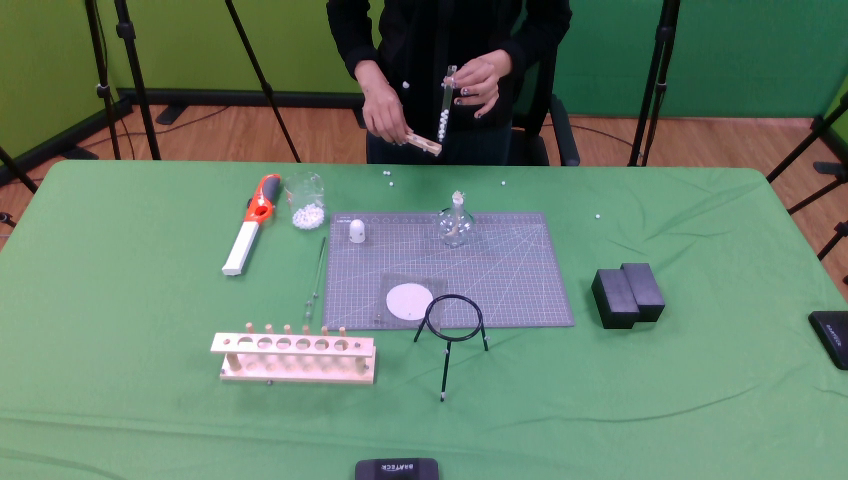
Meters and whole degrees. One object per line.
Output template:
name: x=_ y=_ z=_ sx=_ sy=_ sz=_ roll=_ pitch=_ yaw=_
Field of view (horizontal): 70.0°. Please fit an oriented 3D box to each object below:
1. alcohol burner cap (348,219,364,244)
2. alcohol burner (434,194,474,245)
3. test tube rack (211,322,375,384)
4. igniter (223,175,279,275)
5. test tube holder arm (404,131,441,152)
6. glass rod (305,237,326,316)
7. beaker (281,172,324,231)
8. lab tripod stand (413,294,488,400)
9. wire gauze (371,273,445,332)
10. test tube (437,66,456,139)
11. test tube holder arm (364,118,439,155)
alcohol burner cap: x=-0.134 y=-0.019 z=1.190 sx=0.034 sy=0.048 sz=0.033 roll=2 pitch=46 yaw=-2
alcohol burner: x=0.061 y=-0.046 z=1.183 sx=0.078 sy=0.119 sz=0.077 roll=3 pitch=47 yaw=-3
test tube rack: x=-0.203 y=0.176 z=0.969 sx=0.242 sy=0.085 sz=0.066 roll=3 pitch=46 yaw=-2
igniter: x=-0.341 y=-0.039 z=1.207 sx=0.057 sy=0.025 sz=0.275 roll=-1 pitch=45 yaw=9
test tube holder arm: x=-0.005 y=-0.197 z=1.214 sx=0.087 sy=0.015 sz=0.010 roll=25 pitch=54 yaw=19
glass rod: x=-0.202 y=0.064 z=1.132 sx=0.008 sy=0.008 sz=0.198 roll=3 pitch=43 yaw=0
beaker: x=-0.234 y=-0.073 z=1.199 sx=0.084 sy=0.101 sz=0.074 roll=24 pitch=50 yaw=17
lab tripod stand: x=0.044 y=0.159 z=0.972 sx=0.148 sy=0.132 sz=0.147 roll=2 pitch=44 yaw=-2
wire gauze: x=-0.028 y=0.108 z=1.100 sx=0.125 sy=0.011 sz=0.121 roll=7 pitch=45 yaw=4
test tube: x=0.040 y=-0.253 z=1.127 sx=0.017 sy=0.151 sz=0.017 roll=5 pitch=44 yaw=-5
test tube holder arm: x=-0.047 y=-0.211 z=1.226 sx=0.178 sy=0.015 sz=0.013 roll=25 pitch=54 yaw=19
